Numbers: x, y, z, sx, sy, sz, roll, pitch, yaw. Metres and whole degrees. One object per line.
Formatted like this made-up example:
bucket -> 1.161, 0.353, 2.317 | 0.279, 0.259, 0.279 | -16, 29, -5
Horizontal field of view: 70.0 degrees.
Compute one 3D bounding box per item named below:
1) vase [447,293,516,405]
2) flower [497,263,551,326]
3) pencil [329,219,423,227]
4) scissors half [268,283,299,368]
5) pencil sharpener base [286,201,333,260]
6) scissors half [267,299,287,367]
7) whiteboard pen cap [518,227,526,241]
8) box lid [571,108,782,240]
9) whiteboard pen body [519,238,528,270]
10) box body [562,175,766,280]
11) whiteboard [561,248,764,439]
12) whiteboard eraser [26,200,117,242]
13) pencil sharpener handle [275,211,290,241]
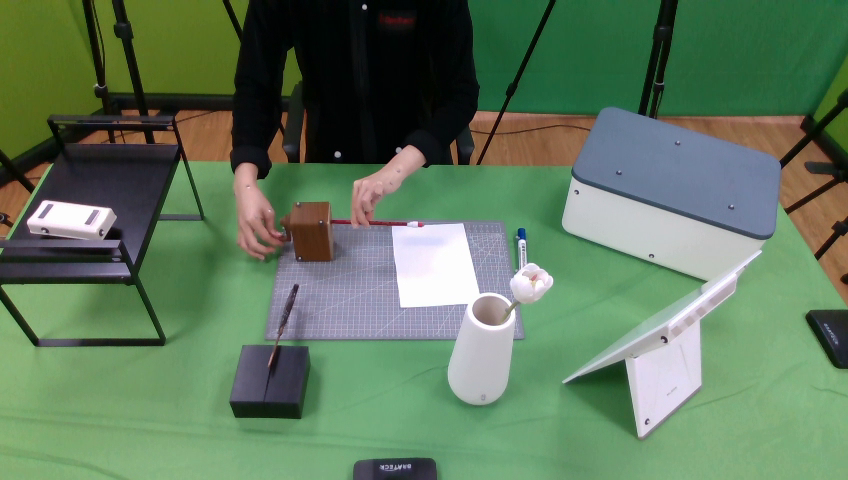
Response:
vase -> 0.091, 0.169, 0.921 | 0.098, 0.201, 0.097 | 3, 47, -3
flower -> 0.102, 0.121, 0.852 | 0.044, 0.363, 0.038 | -2, 64, -10
pencil -> -0.099, -0.032, 1.117 | 0.194, 0.012, 0.012 | 2, 46, 0
scissors half -> -0.230, 0.135, 0.986 | 0.013, 0.040, 0.174 | 19, 43, -11
pencil sharpener base -> -0.213, -0.016, 1.133 | 0.077, 0.107, 0.061 | -1, 47, -4
scissors half -> -0.239, 0.150, 0.997 | 0.013, 0.040, 0.174 | 24, 24, -13
whiteboard pen cap -> 0.197, -0.009, 1.220 | 0.018, 0.018, 0.033 | 5, 50, 1
box lid -> 0.491, -0.139, 1.168 | 0.370, 0.015, 0.262 | 21, 49, 15
whiteboard pen body -> 0.193, 0.035, 1.180 | 0.017, 0.017, 0.140 | 6, 48, 1
box body -> 0.486, -0.088, 1.222 | 0.363, 0.161, 0.253 | 20, 48, 15
whiteboard -> 0.386, 0.176, 0.905 | 0.217, 0.306, 0.143 | -26, 72, -27
whiteboard eraser -> -0.532, -0.026, 0.919 | 0.113, 0.042, 0.055 | 7, 45, 3
pencil sharpener handle -> -0.263, -0.023, 1.120 | 0.031, 0.068, 0.036 | -1, 45, -4
